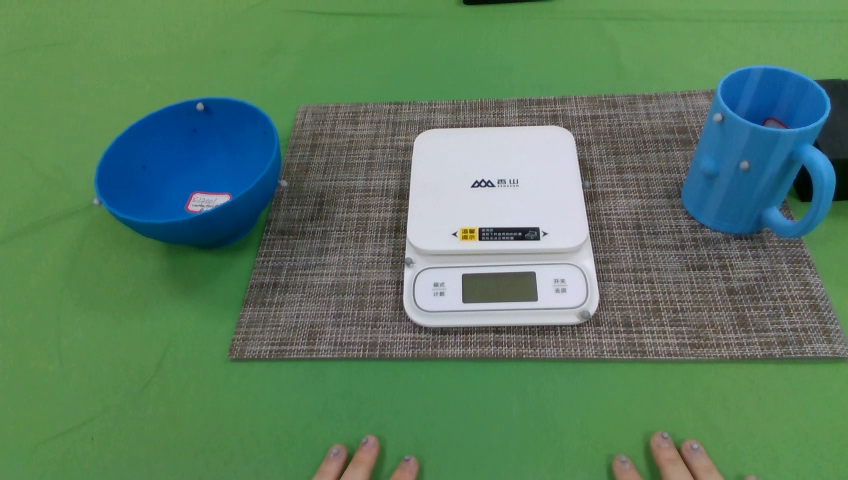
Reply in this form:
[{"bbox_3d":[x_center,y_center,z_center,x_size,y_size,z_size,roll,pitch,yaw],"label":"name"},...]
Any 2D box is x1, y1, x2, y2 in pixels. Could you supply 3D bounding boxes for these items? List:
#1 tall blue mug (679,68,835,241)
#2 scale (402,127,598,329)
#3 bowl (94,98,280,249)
[{"bbox_3d":[0.264,-0.059,0.468,0.106,0.109,0.077,32,60,28],"label":"tall blue mug"},{"bbox_3d":[0.059,-0.018,0.505,0.148,0.032,0.199,-1,51,5],"label":"scale"},{"bbox_3d":[-0.192,-0.045,0.527,0.151,0.077,0.150,-3,51,4],"label":"bowl"}]
